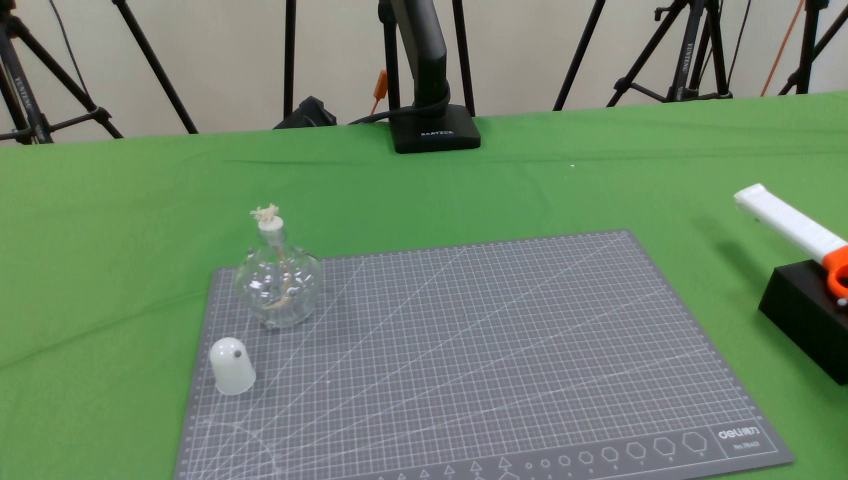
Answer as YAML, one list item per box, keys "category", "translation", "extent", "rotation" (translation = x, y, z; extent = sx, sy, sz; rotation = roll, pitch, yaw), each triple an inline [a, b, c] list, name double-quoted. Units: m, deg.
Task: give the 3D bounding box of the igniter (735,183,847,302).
- category: "igniter"
  translation: [0.372, 0.021, 0.533]
  extent: [0.057, 0.025, 0.273]
  rotation: [-24, 33, 2]

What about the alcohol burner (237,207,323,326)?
- category: "alcohol burner"
  translation: [-0.130, 0.019, 0.539]
  extent: [0.078, 0.120, 0.077]
  rotation: [2, 38, -1]

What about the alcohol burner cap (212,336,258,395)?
- category: "alcohol burner cap"
  translation: [-0.155, 0.099, 0.493]
  extent: [0.034, 0.048, 0.033]
  rotation: [1, 37, 0]
